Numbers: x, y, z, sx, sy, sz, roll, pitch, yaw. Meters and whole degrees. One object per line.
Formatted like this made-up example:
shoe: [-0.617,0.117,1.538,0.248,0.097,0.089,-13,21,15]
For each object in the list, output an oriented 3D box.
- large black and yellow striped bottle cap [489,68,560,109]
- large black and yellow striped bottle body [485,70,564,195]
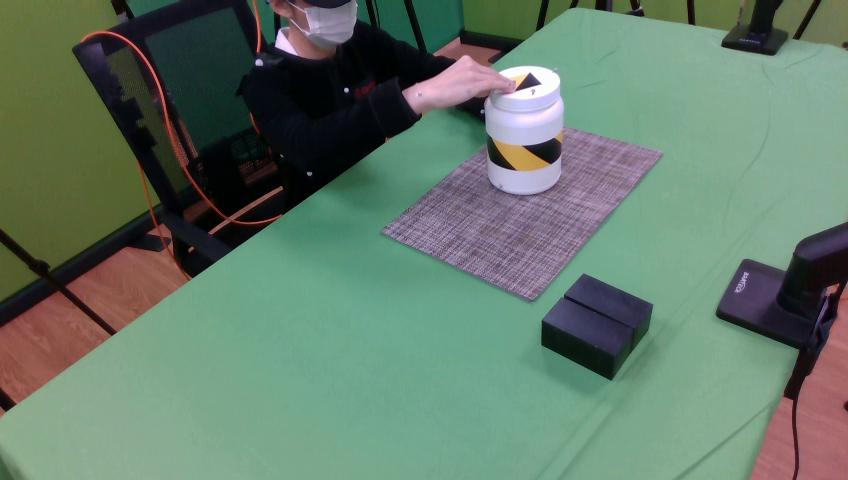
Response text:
large black and yellow striped bottle cap: [0.162,-0.247,0.980,0.115,0.019,0.114,-5,39,5]
large black and yellow striped bottle body: [0.172,-0.184,1.035,0.131,0.185,0.130,-4,40,4]
